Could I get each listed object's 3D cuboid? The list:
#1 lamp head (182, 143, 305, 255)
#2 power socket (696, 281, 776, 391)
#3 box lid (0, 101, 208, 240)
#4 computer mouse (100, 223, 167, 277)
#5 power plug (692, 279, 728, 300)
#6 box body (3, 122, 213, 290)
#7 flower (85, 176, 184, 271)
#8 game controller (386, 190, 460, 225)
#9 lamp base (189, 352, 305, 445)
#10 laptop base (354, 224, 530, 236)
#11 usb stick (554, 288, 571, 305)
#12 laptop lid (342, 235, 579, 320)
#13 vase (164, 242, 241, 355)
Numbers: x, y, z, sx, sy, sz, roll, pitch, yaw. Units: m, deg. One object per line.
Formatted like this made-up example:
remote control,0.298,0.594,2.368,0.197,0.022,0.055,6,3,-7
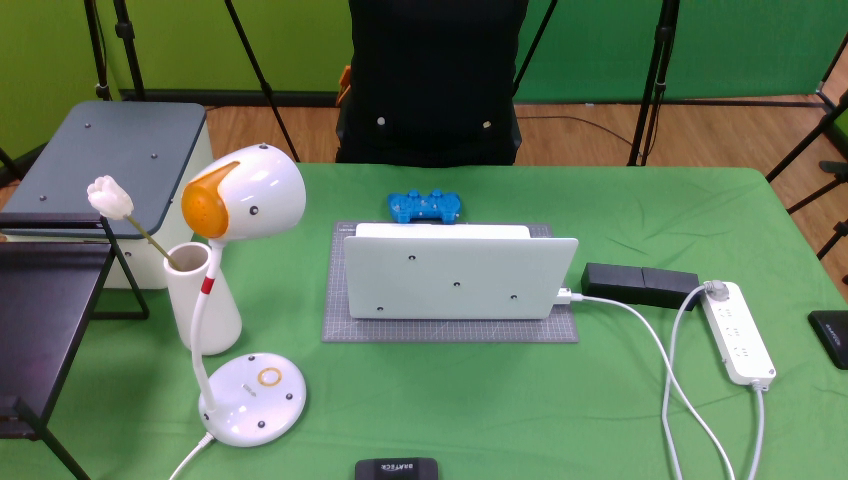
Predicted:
lamp head,-0.216,-0.044,0.697,0.112,0.113,0.123,23,31,17
power socket,0.550,0.160,1.078,0.072,0.033,0.225,2,46,-1
box lid,-0.559,-0.137,1.083,0.263,0.015,0.369,2,46,-2
computer mouse,-0.539,0.015,1.122,0.062,0.041,0.117,30,57,18
power plug,0.522,0.091,1.116,0.072,0.053,0.035,10,47,7
box body,-0.563,-0.086,1.138,0.254,0.161,0.361,2,46,-3
flower,-0.365,0.038,0.894,0.038,0.364,0.044,-6,53,14
game controller,0.000,-0.073,1.251,0.155,0.052,0.096,-2,47,-5
lamp base,-0.268,0.196,0.876,0.160,0.181,0.179,26,52,20
laptop base,0.041,0.055,1.149,0.355,0.023,0.234,1,43,-4
usb stick,0.236,0.103,1.101,0.059,0.027,0.021,-2,46,1
laptop lid,0.051,0.067,0.973,0.357,0.243,0.013,1,52,-5
vase,-0.349,0.096,0.954,0.098,0.201,0.097,3,47,-3
